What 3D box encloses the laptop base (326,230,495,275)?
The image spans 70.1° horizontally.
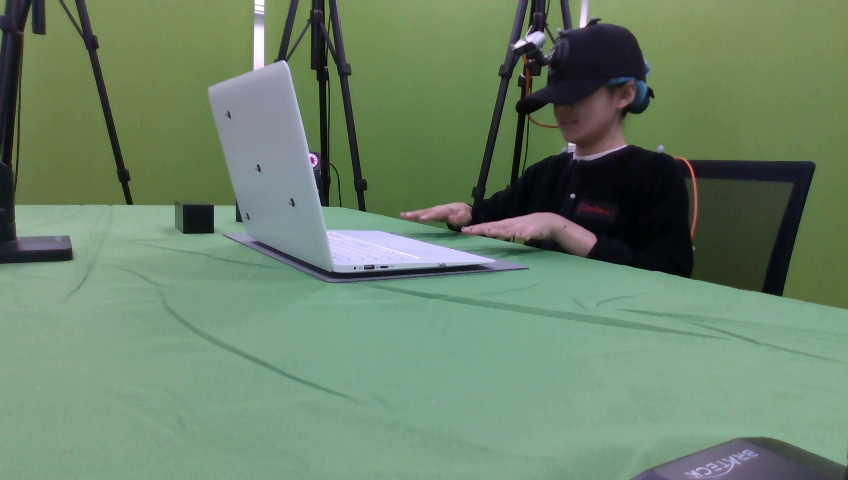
[{"bbox_3d":[-0.093,0.015,0.883,0.237,0.023,0.352,3,6,-33],"label":"laptop base"}]

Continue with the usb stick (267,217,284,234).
[{"bbox_3d":[-0.263,-0.026,1.079,0.021,0.027,0.059,-1,11,-28],"label":"usb stick"}]

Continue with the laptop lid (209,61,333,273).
[{"bbox_3d":[-0.213,-0.095,0.790,0.013,0.241,0.355,-18,18,-29],"label":"laptop lid"}]
